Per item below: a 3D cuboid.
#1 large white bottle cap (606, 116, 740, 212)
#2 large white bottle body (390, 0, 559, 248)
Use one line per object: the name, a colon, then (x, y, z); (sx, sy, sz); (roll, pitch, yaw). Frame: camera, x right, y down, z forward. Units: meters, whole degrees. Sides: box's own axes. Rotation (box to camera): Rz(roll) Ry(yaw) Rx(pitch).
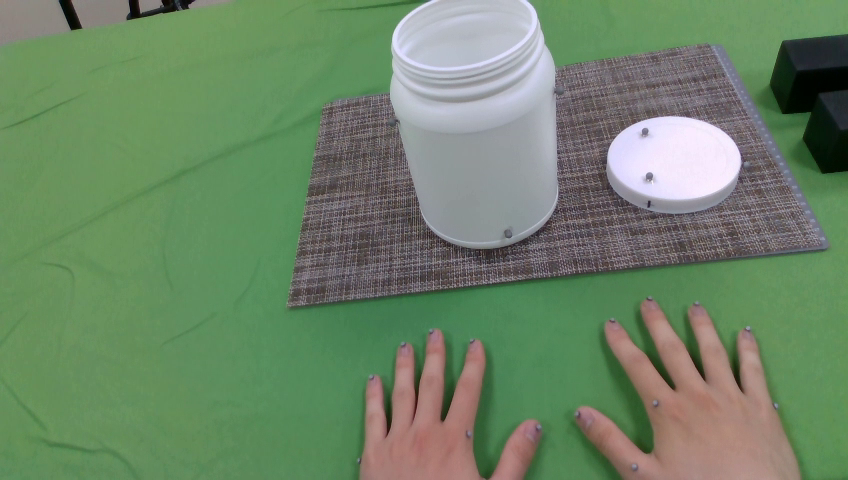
large white bottle cap: (0.228, -0.073, 0.559); (0.115, 0.018, 0.113); (-7, 49, 8)
large white bottle body: (0.045, -0.097, 0.510); (0.130, 0.186, 0.129); (-7, 48, 8)
